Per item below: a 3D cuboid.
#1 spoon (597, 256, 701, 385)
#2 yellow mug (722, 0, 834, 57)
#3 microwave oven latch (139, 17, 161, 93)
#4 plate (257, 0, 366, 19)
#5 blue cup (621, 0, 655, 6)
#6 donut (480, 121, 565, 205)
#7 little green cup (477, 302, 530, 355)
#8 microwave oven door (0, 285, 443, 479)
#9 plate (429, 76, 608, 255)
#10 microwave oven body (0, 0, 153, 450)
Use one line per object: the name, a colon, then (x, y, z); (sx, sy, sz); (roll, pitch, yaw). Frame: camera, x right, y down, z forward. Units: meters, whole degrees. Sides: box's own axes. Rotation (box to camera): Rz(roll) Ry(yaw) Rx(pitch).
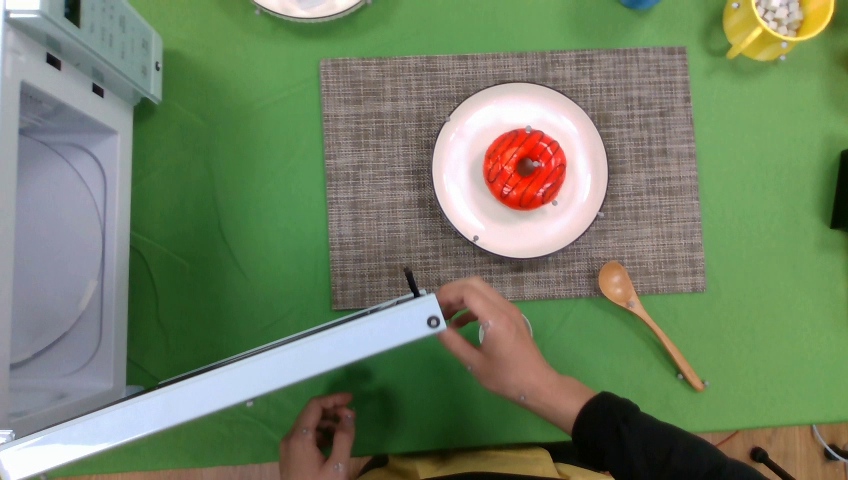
spoon: (0.268, 0.099, 0.718); (0.041, 0.021, 0.194); (-40, 91, -20)
yellow mug: (0.410, -0.269, 0.724); (0.131, 0.064, 0.100); (-45, 89, -3)
microwave oven latch: (-0.316, -0.209, 0.687); (0.030, 0.029, 0.079); (2, 88, -3)
plate: (-0.134, -0.361, 0.721); (0.208, 0.039, 0.207); (0, 87, -2)
blue cup: (0.265, -0.321, 0.703); (0.093, 0.100, 0.092); (0, 88, -3)
donut: (0.114, -0.089, 0.702); (0.099, 0.048, 0.099); (0, 88, 0)
little green cup: (0.090, 0.103, 0.705); (0.061, 0.038, 0.061); (0, 84, -2)
microwave oven door: (-0.157, 0.117, 0.576); (0.356, 0.244, 0.039); (-19, 86, -3)
plate: (0.109, -0.086, 0.712); (0.209, 0.038, 0.209); (0, 87, -2)
microwave oven body: (-0.462, -0.040, 0.576); (0.326, 0.260, 0.441); (0, 88, -3)
